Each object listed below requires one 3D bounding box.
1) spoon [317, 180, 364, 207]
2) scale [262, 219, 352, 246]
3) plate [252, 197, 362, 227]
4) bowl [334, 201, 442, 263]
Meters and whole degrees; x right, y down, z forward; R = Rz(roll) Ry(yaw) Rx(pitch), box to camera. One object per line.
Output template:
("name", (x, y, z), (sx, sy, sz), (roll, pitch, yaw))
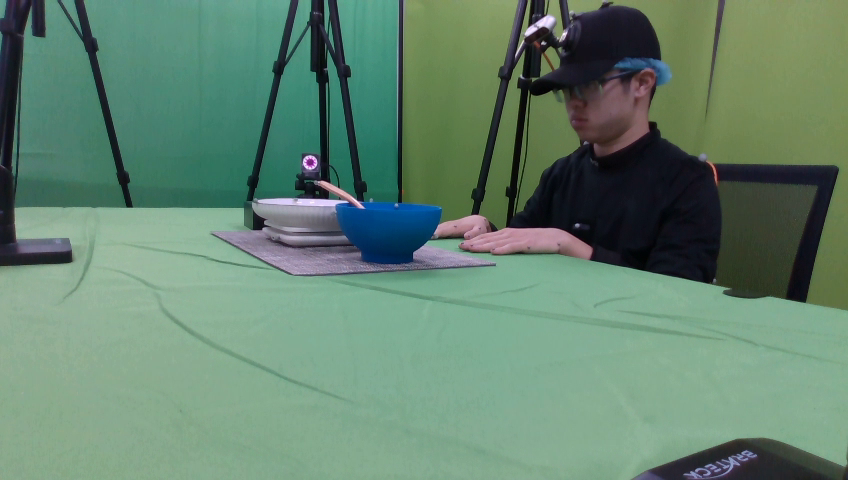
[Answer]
("spoon", (-0.100, -0.051, 0.875), (0.042, 0.021, 0.192), (-13, 37, -38))
("scale", (-0.160, -0.015, 1.027), (0.202, 0.031, 0.148), (-2, 8, -32))
("plate", (-0.179, -0.047, 1.012), (0.209, 0.038, 0.209), (2, 6, 0))
("bowl", (-0.051, -0.012, 0.849), (0.151, 0.077, 0.151), (2, 7, 0))
